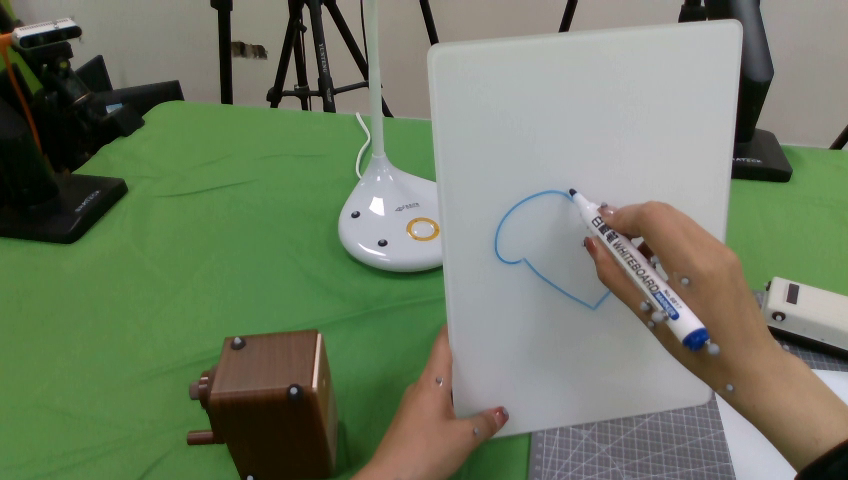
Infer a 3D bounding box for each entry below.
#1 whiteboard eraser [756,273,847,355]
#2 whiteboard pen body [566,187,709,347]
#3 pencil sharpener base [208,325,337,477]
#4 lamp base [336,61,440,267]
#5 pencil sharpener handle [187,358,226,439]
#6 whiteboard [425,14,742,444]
[{"bbox_3d":[0.366,0.071,0.549,0.112,0.042,0.055,19,44,24],"label":"whiteboard eraser"},{"bbox_3d":[0.127,0.010,0.380,0.017,0.017,0.139,-16,49,-17],"label":"whiteboard pen body"},{"bbox_3d":[-0.110,0.122,0.451,0.077,0.108,0.060,-4,39,-2],"label":"pencil sharpener base"},{"bbox_3d":[-0.030,-0.089,0.654,0.161,0.182,0.177,-26,42,-27],"label":"lamp base"},{"bbox_3d":[-0.161,0.117,0.437,0.031,0.068,0.035,-4,26,-2],"label":"pencil sharpener handle"},{"bbox_3d":[0.111,-0.016,0.505,0.217,0.307,0.143,-7,20,-5],"label":"whiteboard"}]
